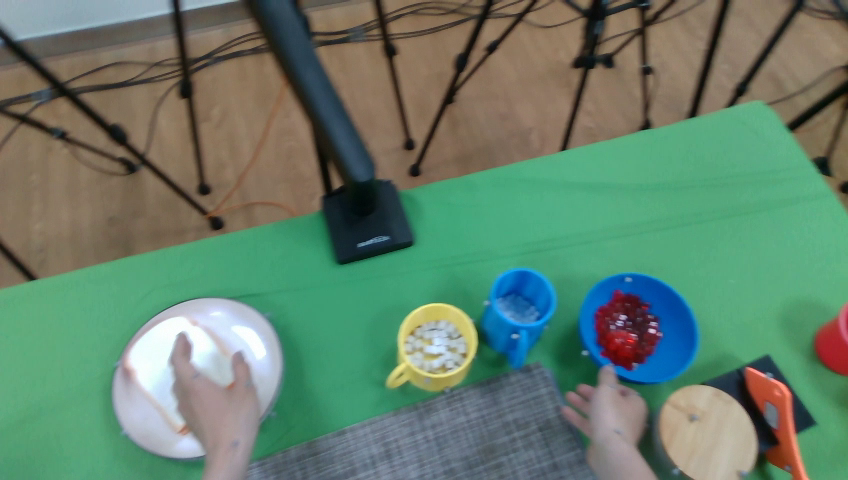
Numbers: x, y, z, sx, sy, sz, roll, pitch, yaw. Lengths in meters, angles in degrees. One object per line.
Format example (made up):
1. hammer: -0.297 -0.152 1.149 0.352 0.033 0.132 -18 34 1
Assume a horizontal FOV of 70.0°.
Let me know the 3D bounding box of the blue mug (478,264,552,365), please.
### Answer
1. blue mug: 0.117 0.105 0.792 0.082 0.106 0.115 3 62 -1

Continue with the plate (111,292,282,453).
1. plate: -0.285 0.168 0.775 0.208 0.039 0.206 2 62 -2

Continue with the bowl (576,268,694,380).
1. bowl: 0.270 0.121 0.807 0.151 0.077 0.150 1 62 -2

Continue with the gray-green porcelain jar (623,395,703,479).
1. gray-green porcelain jar: 0.302 0.239 0.718 0.106 0.127 0.105 2 60 -3

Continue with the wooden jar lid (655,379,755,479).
1. wooden jar lid: 0.304 0.207 0.663 0.108 0.021 0.107 3 63 -5

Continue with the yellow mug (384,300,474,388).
1. yellow mug: 0.001 0.145 0.786 0.131 0.064 0.099 -36 68 -19

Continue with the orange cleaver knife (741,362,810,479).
1. orange cleaver knife: 0.438 0.252 0.742 0.012 0.077 0.211 -18 90 -11
